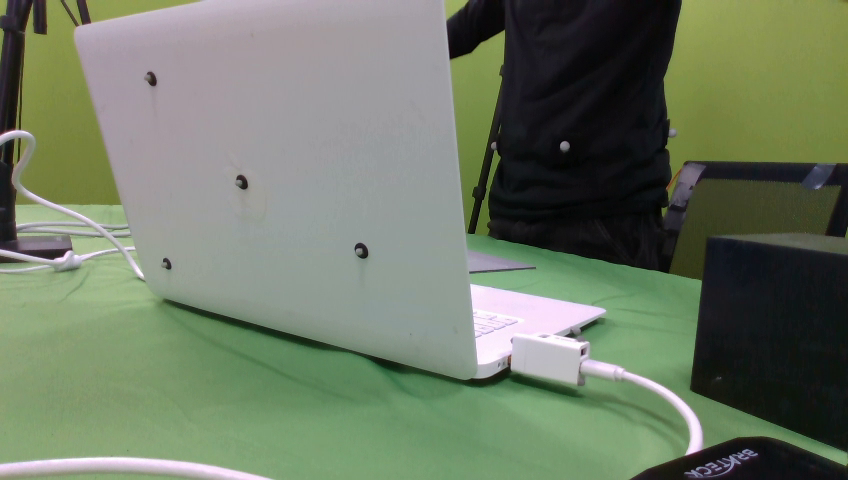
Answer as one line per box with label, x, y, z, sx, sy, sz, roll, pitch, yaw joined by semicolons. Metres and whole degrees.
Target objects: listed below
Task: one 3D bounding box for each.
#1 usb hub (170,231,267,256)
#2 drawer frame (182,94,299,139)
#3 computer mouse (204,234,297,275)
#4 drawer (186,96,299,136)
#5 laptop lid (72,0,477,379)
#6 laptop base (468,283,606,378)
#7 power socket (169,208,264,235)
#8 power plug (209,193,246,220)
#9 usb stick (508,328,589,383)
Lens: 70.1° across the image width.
usb hub;-0.290;0.004;0.862;0.049;0.025;0.126;10;11;42
drawer frame;-0.418;-0.276;1.371;0.203;0.082;0.212;-4;9;-36
computer mouse;-0.212;0.016;0.747;0.062;0.041;0.117;7;12;22
drawer;-0.415;-0.276;1.370;0.195;0.073;0.210;-4;9;-35
laptop lid;-0.125;-0.042;0.418;0.355;0.241;0.013;9;25;34
laptop base;-0.042;0.058;0.554;0.352;0.023;0.237;7;7;35
power socket;-0.381;-0.038;1.128;0.072;0.032;0.227;4;8;16
power plug;-0.388;-0.067;1.205;0.072;0.052;0.035;3;8;26
usb stick;0.072;0.072;0.383;0.059;0.027;0.021;2;2;34
